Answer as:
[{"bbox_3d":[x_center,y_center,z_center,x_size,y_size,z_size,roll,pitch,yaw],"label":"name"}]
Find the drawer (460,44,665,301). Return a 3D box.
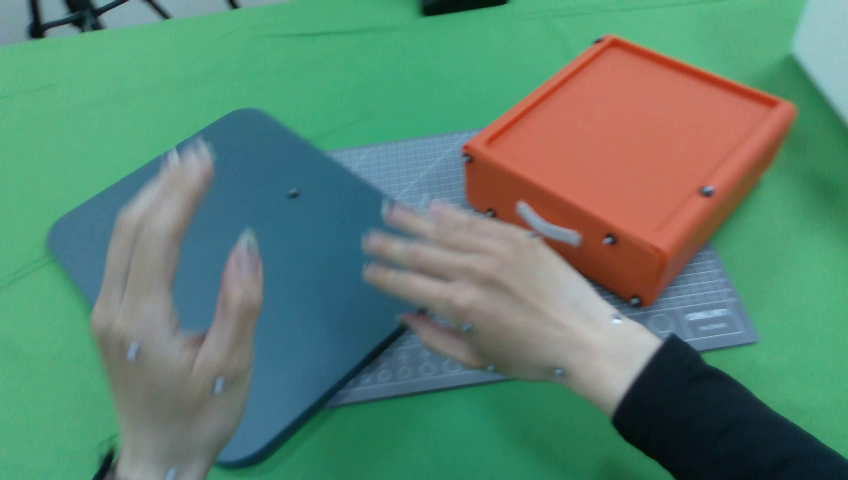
[{"bbox_3d":[0.172,-0.075,0.546,0.192,0.074,0.211,34,61,31],"label":"drawer"}]

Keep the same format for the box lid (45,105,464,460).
[{"bbox_3d":[-0.171,0.003,0.572,0.368,0.015,0.263,35,63,31],"label":"box lid"}]

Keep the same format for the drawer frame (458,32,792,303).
[{"bbox_3d":[0.174,-0.079,0.546,0.200,0.083,0.213,33,60,30],"label":"drawer frame"}]

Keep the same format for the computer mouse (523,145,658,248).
[{"bbox_3d":[0.148,-0.043,0.539,0.116,0.041,0.063,38,60,24],"label":"computer mouse"}]

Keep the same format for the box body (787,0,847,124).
[{"bbox_3d":[0.522,-0.157,0.517,0.254,0.162,0.360,-7,50,1],"label":"box body"}]
